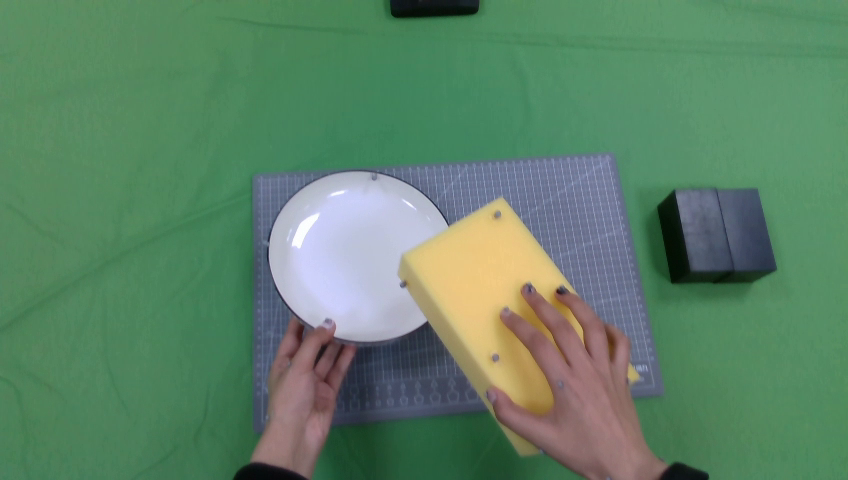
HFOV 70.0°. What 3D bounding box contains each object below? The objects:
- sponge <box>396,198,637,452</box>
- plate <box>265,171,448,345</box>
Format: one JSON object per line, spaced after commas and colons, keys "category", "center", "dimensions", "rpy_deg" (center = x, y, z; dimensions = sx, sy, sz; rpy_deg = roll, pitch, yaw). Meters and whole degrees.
{"category": "sponge", "center": [0.080, 0.076, 0.568], "dimensions": [0.118, 0.061, 0.205], "rpy_deg": [-31, 75, -18]}
{"category": "plate", "center": [-0.069, 0.020, 0.675], "dimensions": [0.210, 0.038, 0.207], "rpy_deg": [5, 64, -11]}
